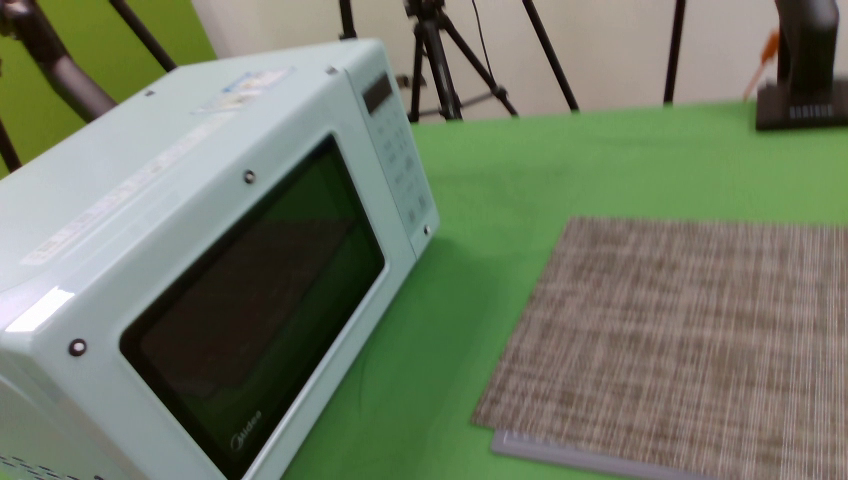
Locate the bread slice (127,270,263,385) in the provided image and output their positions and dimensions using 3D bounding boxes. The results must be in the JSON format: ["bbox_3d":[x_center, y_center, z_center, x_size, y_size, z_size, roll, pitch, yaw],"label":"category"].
[{"bbox_3d":[-0.232,0.081,0.623,0.104,0.019,0.131,10,48,35],"label":"bread slice"}]

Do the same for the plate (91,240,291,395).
[{"bbox_3d":[-0.229,0.078,0.618,0.209,0.038,0.207,-14,34,10],"label":"plate"}]

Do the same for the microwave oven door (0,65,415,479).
[{"bbox_3d":[-0.126,0.039,0.516,0.039,0.246,0.354,1,39,29],"label":"microwave oven door"}]

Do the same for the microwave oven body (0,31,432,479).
[{"bbox_3d":[-0.237,0.014,0.617,0.324,0.263,0.439,2,40,28],"label":"microwave oven body"}]

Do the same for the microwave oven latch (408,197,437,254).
[{"bbox_3d":[-0.010,-0.018,0.721,0.030,0.030,0.079,2,41,29],"label":"microwave oven latch"}]
